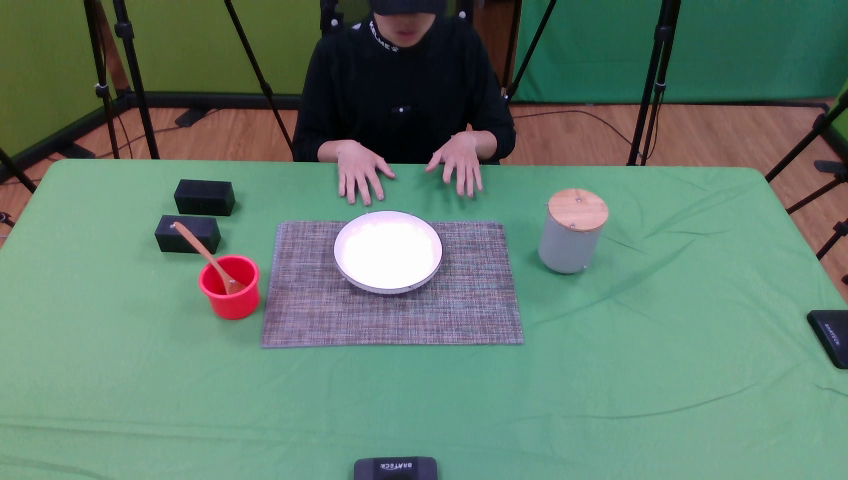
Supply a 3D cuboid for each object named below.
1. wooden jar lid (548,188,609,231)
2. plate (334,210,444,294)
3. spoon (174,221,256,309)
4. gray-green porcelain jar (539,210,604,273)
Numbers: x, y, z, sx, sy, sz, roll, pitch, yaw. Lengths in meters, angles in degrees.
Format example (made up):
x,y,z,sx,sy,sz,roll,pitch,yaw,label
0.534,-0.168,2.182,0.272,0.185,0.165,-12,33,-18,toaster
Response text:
x,y,z,sx,sy,sz,roll,pitch,yaw,label
0.280,-0.052,1.105,0.108,0.021,0.107,0,48,0,wooden jar lid
-0.066,0.026,1.150,0.208,0.039,0.206,2,46,-2,plate
-0.360,0.043,1.044,0.194,0.021,0.041,54,51,-14,spoon
0.277,-0.007,1.151,0.106,0.127,0.105,2,46,-1,gray-green porcelain jar
